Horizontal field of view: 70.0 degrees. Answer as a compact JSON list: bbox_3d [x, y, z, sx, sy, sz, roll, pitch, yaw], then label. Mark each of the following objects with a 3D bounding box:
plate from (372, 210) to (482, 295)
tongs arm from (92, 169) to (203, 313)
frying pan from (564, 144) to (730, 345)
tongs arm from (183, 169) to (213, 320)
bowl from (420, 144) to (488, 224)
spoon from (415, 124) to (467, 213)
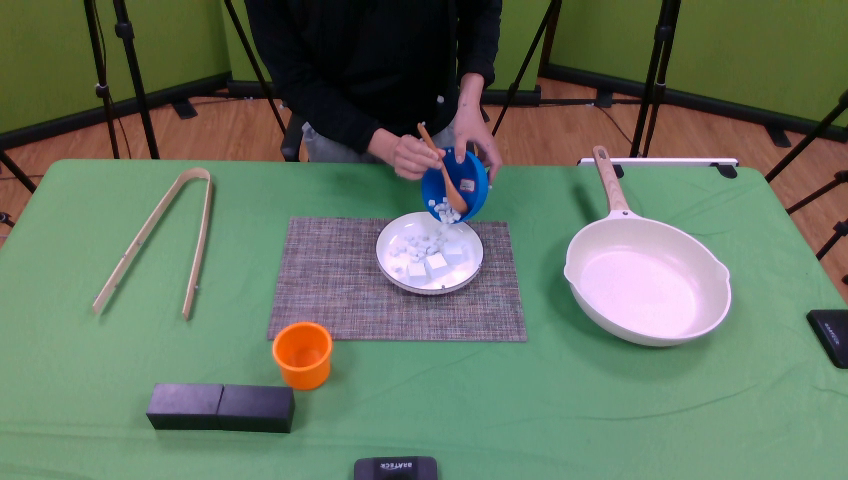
[{"bbox_3d":[0.005,0.028,1.155,0.208,0.039,0.206,2,46,-2],"label":"plate"},{"bbox_3d":[-0.517,-0.012,1.160,0.051,0.026,0.382,7,45,1],"label":"tongs arm"},{"bbox_3d":[0.396,-0.008,1.179,0.307,0.103,0.484,0,55,-5],"label":"frying pan"},{"bbox_3d":[-0.436,-0.005,1.166,0.028,0.028,0.385,-5,46,-6],"label":"tongs arm"},{"bbox_3d":[0.071,-0.108,1.178,0.077,0.151,0.150,-5,40,-47],"label":"bowl"},{"bbox_3d":[0.030,-0.129,1.117,0.021,0.194,0.041,-40,24,-33],"label":"spoon"}]
